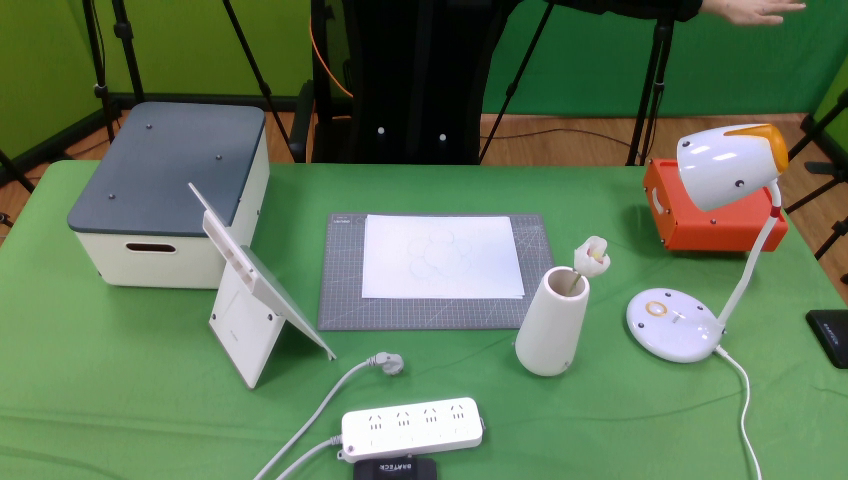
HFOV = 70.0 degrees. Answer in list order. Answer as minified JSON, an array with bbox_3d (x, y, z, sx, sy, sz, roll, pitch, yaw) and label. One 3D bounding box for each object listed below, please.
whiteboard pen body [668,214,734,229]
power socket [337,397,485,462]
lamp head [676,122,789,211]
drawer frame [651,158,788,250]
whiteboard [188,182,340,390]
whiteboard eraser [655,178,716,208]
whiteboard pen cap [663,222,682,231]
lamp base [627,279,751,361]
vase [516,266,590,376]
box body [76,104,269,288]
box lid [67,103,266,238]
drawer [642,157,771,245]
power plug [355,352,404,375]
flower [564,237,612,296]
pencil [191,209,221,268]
[{"bbox_3d":[0.547,-0.035,1.200,0.141,0.017,0.017,-8,48,-9],"label":"whiteboard pen body"},{"bbox_3d":[-0.018,0.285,0.915,0.227,0.033,0.071,-5,46,-8],"label":"power socket"},{"bbox_3d":[0.423,-0.104,0.819,0.122,0.113,0.112,-13,33,40],"label":"lamp head"},{"bbox_3d":[0.571,-0.074,1.213,0.214,0.083,0.200,1,46,0],"label":"drawer frame"},{"bbox_3d":[-0.292,0.096,0.929,0.144,0.307,0.216,-38,57,-11],"label":"whiteboard"},{"bbox_3d":[0.538,-0.095,1.250,0.113,0.042,0.055,4,53,-10],"label":"whiteboard eraser"},{"bbox_3d":[0.488,-0.026,1.188,0.033,0.018,0.018,-1,46,-13],"label":"whiteboard pen cap"},{"bbox_3d":[0.459,0.100,1.027,0.178,0.181,0.160,27,51,17],"label":"lamp base"},{"bbox_3d":[0.208,0.132,0.964,0.098,0.201,0.097,3,46,-3],"label":"vase"},{"bbox_3d":[-0.450,-0.087,1.149,0.254,0.161,0.361,2,46,-2],"label":"box body"},{"bbox_3d":[-0.447,-0.137,1.094,0.263,0.015,0.369,2,45,-2],"label":"box lid"},{"bbox_3d":[0.564,-0.075,1.210,0.212,0.073,0.193,3,45,-1],"label":"drawer"},{"bbox_3d":[-0.068,0.202,0.988,0.072,0.053,0.035,-4,48,20],"label":"power plug"},{"bbox_3d":[0.206,0.088,0.892,0.038,0.363,0.044,-17,67,-9],"label":"flower"},{"bbox_3d":[-0.422,-0.008,1.186,0.012,0.012,0.193,2,37,-2],"label":"pencil"}]
